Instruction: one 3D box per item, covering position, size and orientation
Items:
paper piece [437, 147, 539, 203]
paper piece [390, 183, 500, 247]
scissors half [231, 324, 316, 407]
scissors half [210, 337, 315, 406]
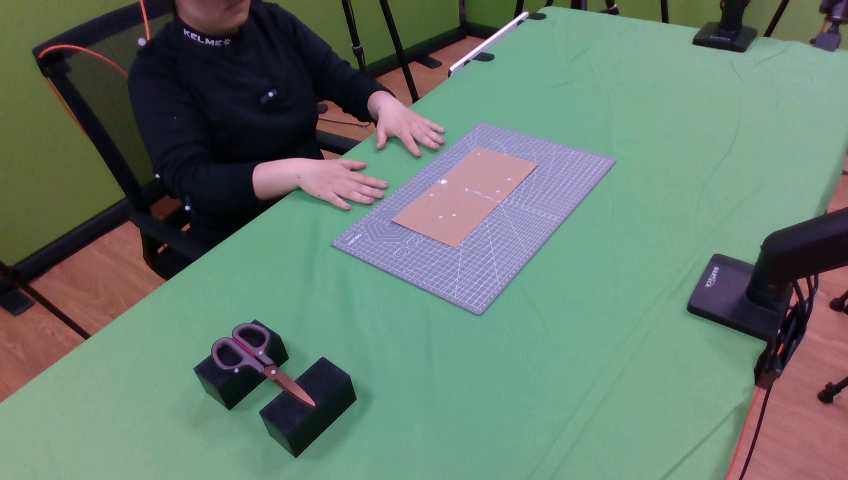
[{"bbox_3d":[0.117,-0.122,1.104,0.135,0.009,0.138,26,49,29],"label":"paper piece"},{"bbox_3d":[0.037,-0.048,1.027,0.134,0.004,0.136,23,48,30],"label":"paper piece"},{"bbox_3d":[-0.185,0.153,0.748,0.040,0.013,0.173,-32,48,-28],"label":"scissors half"},{"bbox_3d":[-0.198,0.163,0.736,0.174,0.013,0.040,20,42,26],"label":"scissors half"}]
